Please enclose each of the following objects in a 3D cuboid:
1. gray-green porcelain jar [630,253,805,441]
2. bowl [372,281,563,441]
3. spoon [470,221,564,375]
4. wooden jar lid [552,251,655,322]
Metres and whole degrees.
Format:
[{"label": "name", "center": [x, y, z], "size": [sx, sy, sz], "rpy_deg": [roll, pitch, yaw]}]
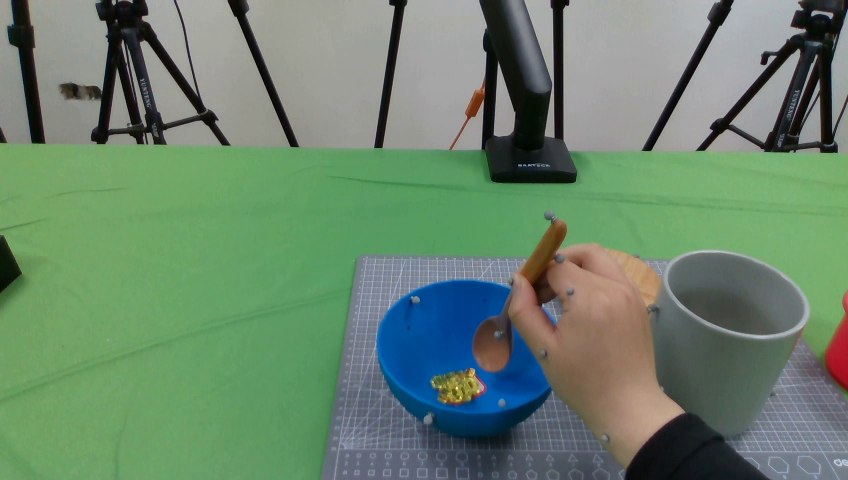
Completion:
[{"label": "gray-green porcelain jar", "center": [0.230, 0.091, 0.494], "size": [0.106, 0.127, 0.105], "rpy_deg": [1, 36, 0]}, {"label": "bowl", "center": [0.033, 0.111, 0.501], "size": [0.151, 0.077, 0.150], "rpy_deg": [1, 36, 0]}, {"label": "spoon", "center": [0.063, 0.048, 0.433], "size": [0.022, 0.195, 0.041], "rpy_deg": [-19, 62, -19]}, {"label": "wooden jar lid", "center": [0.190, 0.050, 0.644], "size": [0.108, 0.021, 0.107], "rpy_deg": [1, 34, 0]}]
